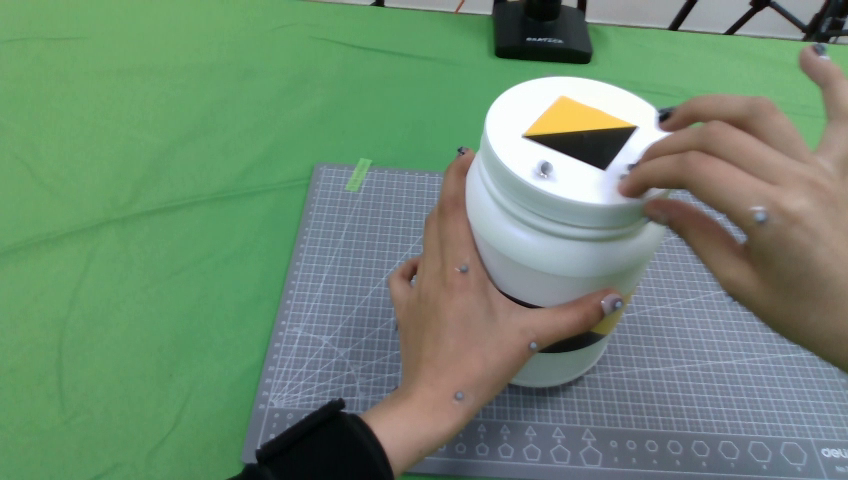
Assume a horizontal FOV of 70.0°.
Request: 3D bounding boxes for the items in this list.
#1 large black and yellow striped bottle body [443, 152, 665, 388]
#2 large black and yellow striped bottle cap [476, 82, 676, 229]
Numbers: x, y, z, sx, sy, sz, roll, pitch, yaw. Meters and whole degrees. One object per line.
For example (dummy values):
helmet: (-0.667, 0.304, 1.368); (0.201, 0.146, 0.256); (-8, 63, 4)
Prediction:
large black and yellow striped bottle body: (0.084, 0.004, 0.420); (0.131, 0.185, 0.129); (2, 49, -2)
large black and yellow striped bottle cap: (0.088, -0.053, 0.354); (0.115, 0.019, 0.114); (4, 48, -4)
